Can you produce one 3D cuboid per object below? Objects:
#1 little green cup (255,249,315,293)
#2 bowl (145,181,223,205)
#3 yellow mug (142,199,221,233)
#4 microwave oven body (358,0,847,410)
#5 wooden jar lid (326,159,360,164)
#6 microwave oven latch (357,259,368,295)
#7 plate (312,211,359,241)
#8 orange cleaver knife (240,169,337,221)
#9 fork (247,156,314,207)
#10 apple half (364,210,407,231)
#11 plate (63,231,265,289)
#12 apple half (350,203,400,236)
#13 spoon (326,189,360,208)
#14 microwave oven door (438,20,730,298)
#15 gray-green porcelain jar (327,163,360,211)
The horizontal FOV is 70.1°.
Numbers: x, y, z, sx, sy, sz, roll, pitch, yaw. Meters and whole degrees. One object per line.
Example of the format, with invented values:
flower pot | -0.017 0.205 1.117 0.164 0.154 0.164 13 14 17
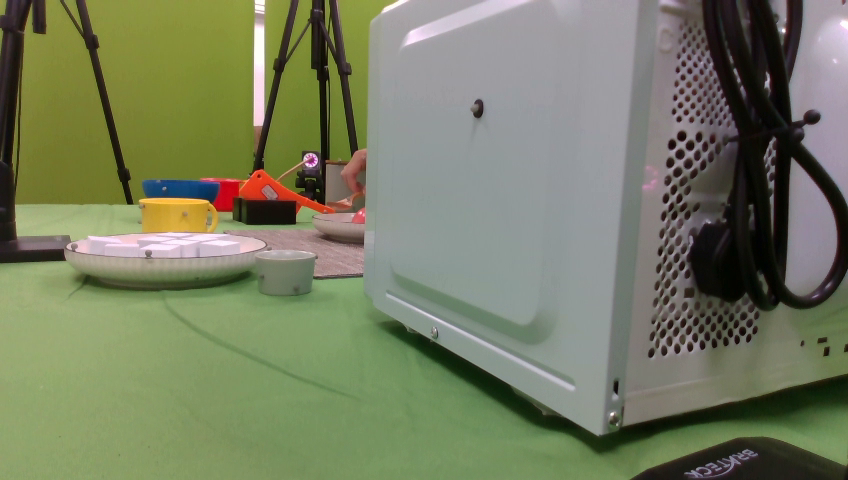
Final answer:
little green cup | -0.144 0.031 0.627 0.061 0.038 0.061 2 6 0
bowl | -0.499 -0.081 1.261 0.151 0.077 0.151 2 8 0
yellow mug | -0.372 -0.030 0.948 0.099 0.064 0.131 5 7 30
microwave oven body | 0.210 -0.051 0.471 0.444 0.260 0.324 -1 7 -28
wooden jar lid | -0.185 -0.187 1.481 0.108 0.020 0.108 4 6 0
microwave oven latch | -0.019 0.031 0.529 0.079 0.029 0.030 -1 7 -26
plate | -0.091 -0.026 1.063 0.209 0.038 0.209 2 8 0
orange cleaver knife | -0.287 -0.082 1.298 0.212 0.077 0.012 25 -2 -31
fork | -0.360 -0.147 1.523 0.207 0.018 0.028 -43 15 -7
apple half | -0.068 -0.037 1.103 0.081 0.033 0.081 -1 9 0
plate | -0.288 0.021 0.687 0.208 0.039 0.207 2 8 0
apple half | -0.081 -0.036 1.023 0.081 0.053 0.074 -3 11 -34
spoon | -0.124 -0.083 1.114 0.041 0.021 0.194 2 16 19
microwave oven door | 0.181 -0.076 0.618 0.358 0.243 0.039 -2 8 -28
gray-green porcelain jar | -0.187 -0.125 1.490 0.106 0.126 0.106 2 8 0
